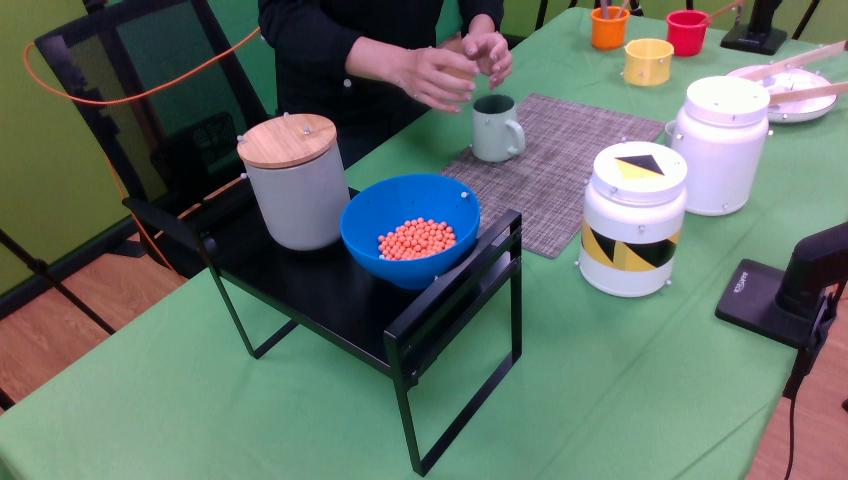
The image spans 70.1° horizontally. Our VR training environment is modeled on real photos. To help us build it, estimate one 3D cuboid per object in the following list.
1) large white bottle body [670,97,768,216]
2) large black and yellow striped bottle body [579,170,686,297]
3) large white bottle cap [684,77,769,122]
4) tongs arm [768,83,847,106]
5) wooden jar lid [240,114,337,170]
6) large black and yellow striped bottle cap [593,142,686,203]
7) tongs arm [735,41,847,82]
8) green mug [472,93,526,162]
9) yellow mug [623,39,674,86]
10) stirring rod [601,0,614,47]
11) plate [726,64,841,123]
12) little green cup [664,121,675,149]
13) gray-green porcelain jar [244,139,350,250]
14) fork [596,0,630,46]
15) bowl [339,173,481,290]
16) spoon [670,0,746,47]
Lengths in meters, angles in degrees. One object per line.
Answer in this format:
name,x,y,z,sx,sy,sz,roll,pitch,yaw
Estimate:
large white bottle body,0.458,-0.146,0.952,0.130,0.185,0.130,-4,40,4
large black and yellow striped bottle body,0.287,-0.027,0.841,0.131,0.185,0.130,-4,40,4
large white bottle cap,0.448,-0.209,0.898,0.115,0.018,0.114,-4,40,4
tongs arm,0.738,-0.282,1.134,0.388,0.028,0.028,-9,47,-5
wooden jar lid,-0.149,-0.106,0.674,0.108,0.021,0.108,-6,38,5
large black and yellow striped bottle cap,0.280,-0.090,0.786,0.115,0.019,0.114,-5,41,5
tongs arm,0.712,-0.332,1.194,0.386,0.026,0.050,-18,45,-16
green mug,0.144,-0.202,1.122,0.093,0.105,0.124,-29,45,-23
yellow mug,0.485,-0.398,1.334,0.100,0.064,0.130,-18,41,-11
stirring rod,0.439,-0.552,1.463,0.014,0.006,0.175,-7,83,3
plate,0.695,-0.282,1.189,0.207,0.039,0.206,-4,40,4
little green cup,0.472,-0.188,1.113,0.061,0.039,0.061,-5,40,4
gray-green porcelain jar,-0.144,-0.060,0.714,0.106,0.127,0.105,-4,41,4
fork,0.481,-0.556,1.453,0.028,0.019,0.207,40,103,38
bowl,-0.011,0.001,0.660,0.151,0.077,0.150,-5,41,5
spoon,0.629,-0.484,1.350,0.022,0.193,0.042,48,54,-7
